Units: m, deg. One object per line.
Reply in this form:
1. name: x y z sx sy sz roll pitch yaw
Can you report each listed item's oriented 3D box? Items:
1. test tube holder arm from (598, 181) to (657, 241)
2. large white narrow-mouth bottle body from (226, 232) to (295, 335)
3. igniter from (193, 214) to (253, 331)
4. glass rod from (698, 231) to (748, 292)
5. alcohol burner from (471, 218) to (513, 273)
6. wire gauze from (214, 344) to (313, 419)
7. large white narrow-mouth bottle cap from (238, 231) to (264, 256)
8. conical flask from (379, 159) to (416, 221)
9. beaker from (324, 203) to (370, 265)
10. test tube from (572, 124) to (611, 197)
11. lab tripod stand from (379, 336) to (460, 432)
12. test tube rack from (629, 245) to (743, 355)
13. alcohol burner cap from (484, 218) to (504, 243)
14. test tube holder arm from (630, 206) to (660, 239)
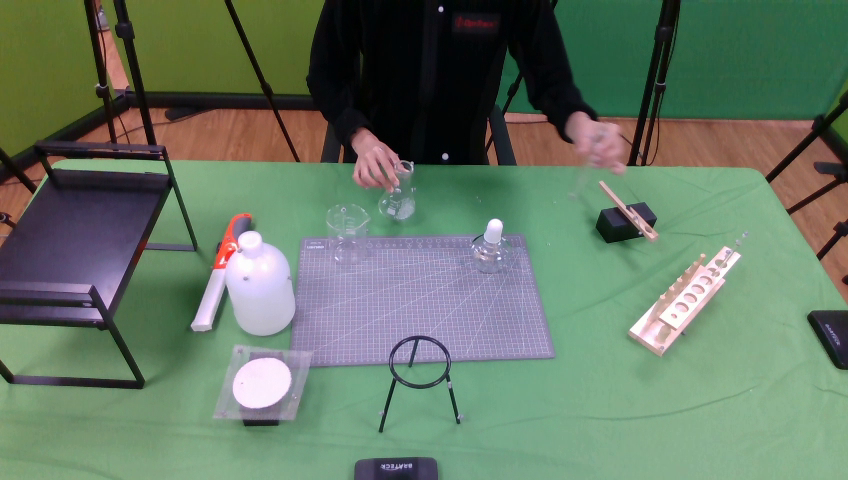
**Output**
1. test tube holder arm: 0.407 -0.061 1.219 0.013 0.015 0.177 -23 50 -14
2. large white narrow-mouth bottle body: -0.270 0.065 0.995 0.102 0.195 0.101 2 46 -2
3. igniter: -0.368 0.050 1.119 0.057 0.025 0.275 -3 46 8
4. glass rod: 0.514 0.044 1.051 0.008 0.200 0.008 1 55 -1
5. alcohol burner: 0.128 0.005 1.132 0.078 0.120 0.077 0 47 0
6. wire gauze: -0.241 0.213 0.915 0.121 0.011 0.124 5 46 1
7. large white narrow-mouth bottle cap: -0.266 0.006 0.932 0.038 0.024 0.037 2 46 -2
8. conical flask: -0.046 -0.100 1.175 0.075 0.122 0.075 5 52 -6
9. beaker: -0.142 -0.009 1.137 0.084 0.101 0.073 -3 47 -7
10. test tube: 0.268 -0.124 0.975 0.017 0.151 0.017 5 50 -5
11. lab tripod stand: -0.011 0.214 0.911 0.148 0.132 0.147 1 45 0
12. test tube rack: 0.474 0.095 1.091 0.242 0.085 0.066 -34 56 -31
13. alcohol burner cap: 0.130 -0.021 1.106 0.034 0.048 0.033 3 51 -4
14. test tube holder arm: 0.431 -0.034 1.192 0.010 0.015 0.087 -22 50 -14
